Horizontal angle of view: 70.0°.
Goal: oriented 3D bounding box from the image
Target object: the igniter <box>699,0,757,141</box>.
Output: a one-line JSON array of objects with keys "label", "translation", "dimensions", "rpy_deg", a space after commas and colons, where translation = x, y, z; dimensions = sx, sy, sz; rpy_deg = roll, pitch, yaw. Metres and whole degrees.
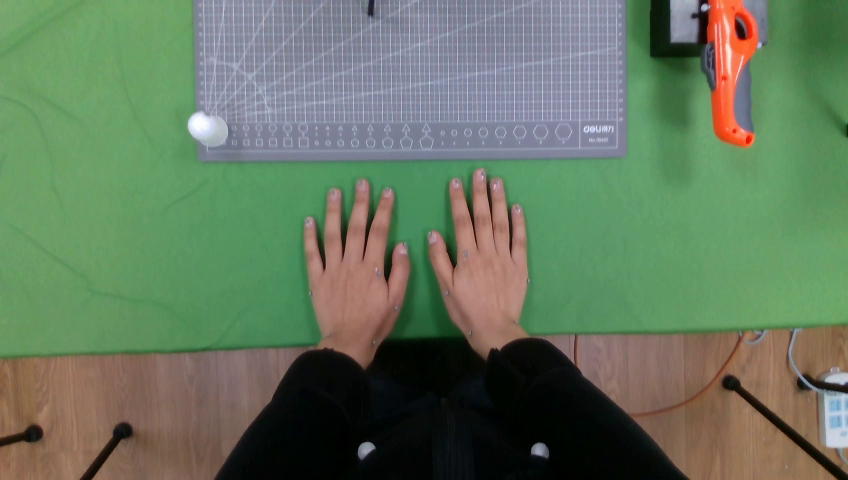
[{"label": "igniter", "translation": [0.294, -0.234, 0.588], "dimensions": [0.057, 0.025, 0.276], "rpy_deg": [-3, 90, -7]}]

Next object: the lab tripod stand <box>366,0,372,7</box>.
[{"label": "lab tripod stand", "translation": [-0.014, -0.299, 0.561], "dimensions": [0.148, 0.131, 0.148], "rpy_deg": [0, 92, -1]}]

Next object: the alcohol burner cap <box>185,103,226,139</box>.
[{"label": "alcohol burner cap", "translation": [-0.220, -0.120, 0.603], "dimensions": [0.034, 0.048, 0.034], "rpy_deg": [0, 90, -4]}]
